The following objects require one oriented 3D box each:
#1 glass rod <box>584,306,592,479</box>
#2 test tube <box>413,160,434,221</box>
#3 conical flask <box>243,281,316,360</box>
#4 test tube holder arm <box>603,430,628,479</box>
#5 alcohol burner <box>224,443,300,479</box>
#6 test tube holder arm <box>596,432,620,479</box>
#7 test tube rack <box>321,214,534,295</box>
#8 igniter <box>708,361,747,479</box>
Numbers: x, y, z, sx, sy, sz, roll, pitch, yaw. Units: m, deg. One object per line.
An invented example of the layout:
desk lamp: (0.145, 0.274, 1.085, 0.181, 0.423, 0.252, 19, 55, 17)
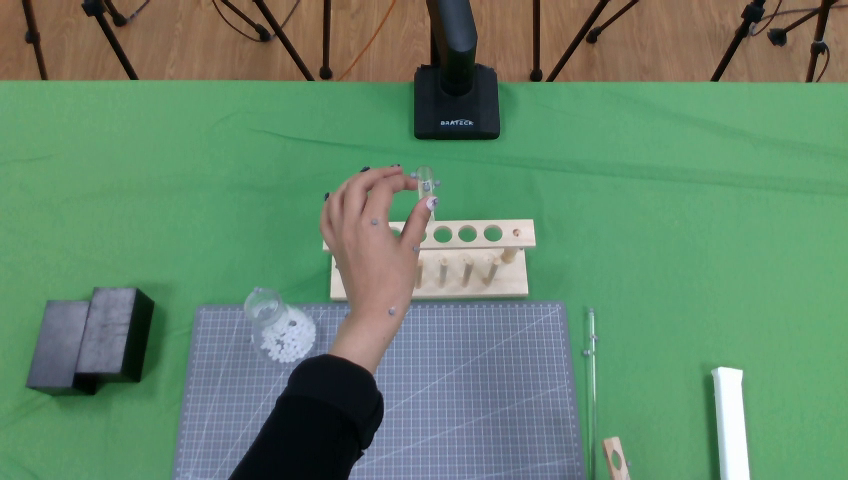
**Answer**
glass rod: (0.190, 0.172, 0.701, 0.008, 0.008, 0.198, 6, 68, 2)
test tube: (0.001, -0.044, 0.586, 0.017, 0.151, 0.017, 0, 76, 2)
conical flask: (-0.166, 0.084, 0.670, 0.075, 0.123, 0.075, 0, 66, 0)
test tube holder arm: (0.206, 0.277, 0.592, 0.013, 0.015, 0.177, -16, 74, 3)
alcohol burner: (-0.166, 0.242, 0.606, 0.078, 0.120, 0.077, -1, 64, 1)
test tube holder arm: (0.190, 0.236, 0.604, 0.010, 0.015, 0.087, -14, 74, 3)
test tube rack: (0.004, 0.019, 0.725, 0.242, 0.086, 0.066, -1, 66, -1)
igniter: (0.330, 0.268, 0.651, 0.057, 0.025, 0.274, 11, 66, -7)
